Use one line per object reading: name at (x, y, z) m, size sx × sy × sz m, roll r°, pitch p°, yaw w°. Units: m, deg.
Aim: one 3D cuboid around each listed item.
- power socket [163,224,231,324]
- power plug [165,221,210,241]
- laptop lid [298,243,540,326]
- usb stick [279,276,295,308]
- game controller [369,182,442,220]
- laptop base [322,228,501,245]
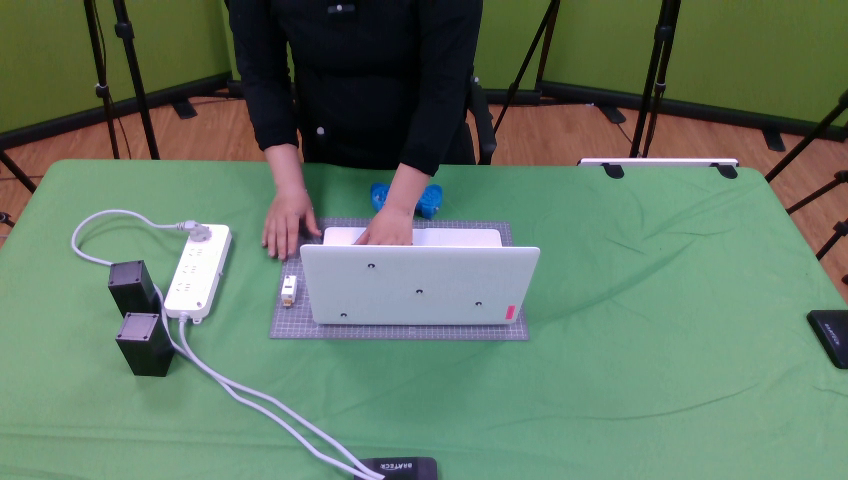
power socket at (-0.411, 0.053, 1.106) m, size 0.072 × 0.033 × 0.225 m, roll 3°, pitch 46°, yaw -3°
power plug at (-0.441, -0.015, 1.143) m, size 0.072 × 0.053 × 0.035 m, roll 7°, pitch 46°, yaw 9°
laptop lid at (-0.010, 0.077, 0.957) m, size 0.357 × 0.243 × 0.013 m, roll 1°, pitch 53°, yaw -5°
usb stick at (-0.244, 0.094, 1.079) m, size 0.021 × 0.027 × 0.059 m, roll 2°, pitch 47°, yaw -4°
game controller at (-0.039, -0.091, 1.267) m, size 0.155 × 0.052 × 0.096 m, roll 1°, pitch 50°, yaw -2°
laptop base at (-0.020, 0.064, 1.135) m, size 0.355 × 0.023 × 0.234 m, roll 1°, pitch 43°, yaw -4°
